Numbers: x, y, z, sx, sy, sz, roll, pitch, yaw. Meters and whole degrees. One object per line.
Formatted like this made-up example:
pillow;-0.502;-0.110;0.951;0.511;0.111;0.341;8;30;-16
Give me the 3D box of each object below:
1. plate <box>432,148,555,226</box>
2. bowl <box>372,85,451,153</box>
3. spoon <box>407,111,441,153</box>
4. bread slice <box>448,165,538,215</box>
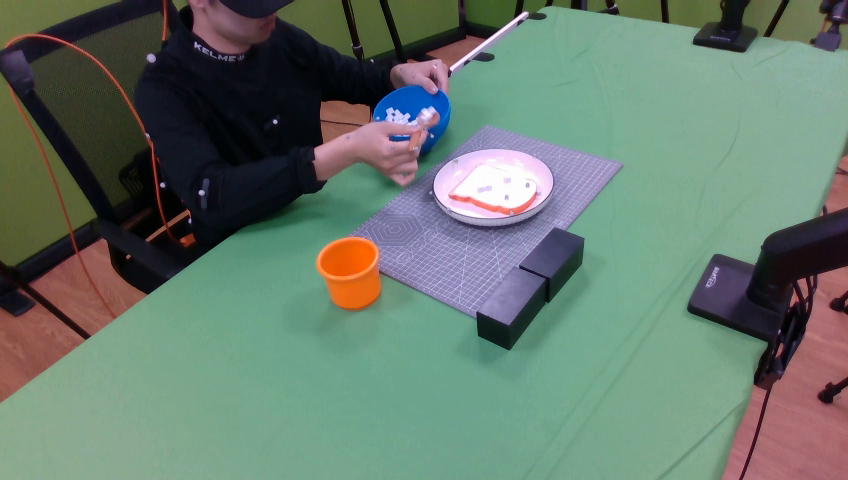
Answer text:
plate;0.119;-0.087;1.037;0.209;0.038;0.208;-4;40;4
bowl;-0.018;-0.221;1.164;0.151;0.077;0.150;-6;51;8
spoon;-0.006;-0.184;1.021;0.041;0.022;0.193;2;25;12
bread slice;0.126;-0.085;1.038;0.133;0.018;0.107;16;45;27
